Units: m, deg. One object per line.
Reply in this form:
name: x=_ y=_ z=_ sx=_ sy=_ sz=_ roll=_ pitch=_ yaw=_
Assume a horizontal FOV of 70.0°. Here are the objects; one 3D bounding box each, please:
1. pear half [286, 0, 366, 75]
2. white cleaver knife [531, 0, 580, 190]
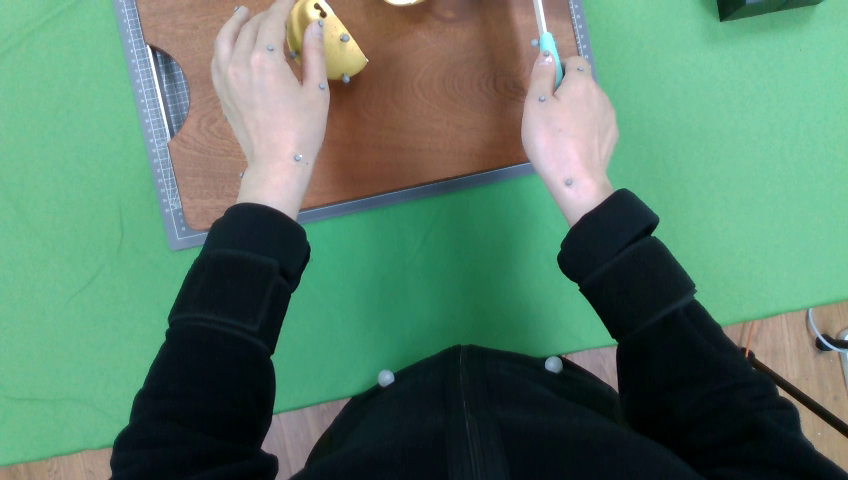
pear half: x=-0.091 y=-0.178 z=0.519 sx=0.056 sy=0.110 sz=0.076 roll=-42 pitch=88 yaw=2
white cleaver knife: x=0.101 y=-0.184 z=0.516 sx=0.021 sy=0.066 sz=0.286 roll=-9 pitch=93 yaw=11
